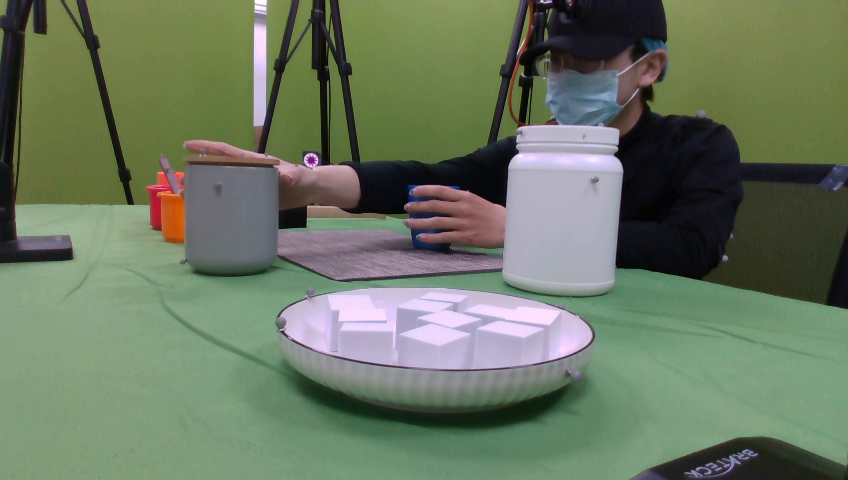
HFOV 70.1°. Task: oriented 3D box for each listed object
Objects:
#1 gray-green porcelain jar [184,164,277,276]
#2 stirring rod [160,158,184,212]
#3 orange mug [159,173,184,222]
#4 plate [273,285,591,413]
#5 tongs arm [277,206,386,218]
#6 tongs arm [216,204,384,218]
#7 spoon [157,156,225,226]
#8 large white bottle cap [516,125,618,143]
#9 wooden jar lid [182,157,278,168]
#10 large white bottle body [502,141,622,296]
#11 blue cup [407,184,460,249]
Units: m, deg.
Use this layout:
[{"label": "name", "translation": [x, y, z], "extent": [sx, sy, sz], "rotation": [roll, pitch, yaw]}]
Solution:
[{"label": "gray-green porcelain jar", "translation": [-0.230, -0.025, 0.722], "extent": [0.106, 0.126, 0.106], "rotation": [3, 7, 0]}, {"label": "stirring rod", "translation": [-0.390, -0.070, 0.972], "extent": [0.014, 0.006, 0.175], "rotation": [-3, 51, -48]}, {"label": "orange mug", "translation": [-0.477, -0.089, 1.241], "extent": [0.127, 0.101, 0.083], "rotation": [-7, 11, -33]}, {"label": "plate", "translation": [0.004, 0.069, 0.407], "extent": [0.208, 0.039, 0.207], "rotation": [2, 7, 0]}, {"label": "tongs arm", "translation": [-0.252, -0.062, 1.360], "extent": [0.387, 0.026, 0.050], "rotation": [-1, 3, -31]}, {"label": "tongs arm", "translation": [-0.289, -0.068, 1.435], "extent": [0.389, 0.027, 0.028], "rotation": [0, -1, -18]}, {"label": "spoon", "translation": [-0.425, -0.094, 1.117], "extent": [0.041, 0.022, 0.194], "rotation": [4, 51, 29]}, {"label": "large white bottle cap", "translation": [0.163, -0.120, 0.695], "extent": [0.115, 0.018, 0.115], "rotation": [2, 7, 0]}, {"label": "wooden jar lid", "translation": [-0.227, -0.086, 0.714], "extent": [0.108, 0.020, 0.108], "rotation": [1, 6, 0]}, {"label": "large white bottle body", "translation": [0.160, -0.037, 0.706], "extent": [0.131, 0.184, 0.130], "rotation": [2, 7, 0]}, {"label": "blue cup", "translation": [0.013, -0.038, 0.971], "extent": [0.093, 0.100, 0.092], "rotation": [2, 5, 0]}]
